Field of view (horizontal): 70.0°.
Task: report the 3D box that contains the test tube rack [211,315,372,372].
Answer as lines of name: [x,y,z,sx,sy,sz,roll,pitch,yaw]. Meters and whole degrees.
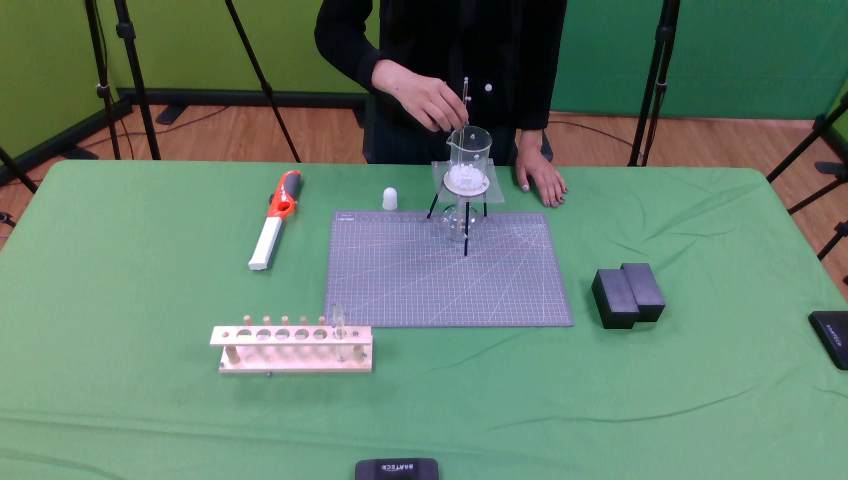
test tube rack: [-0.208,0.163,0.982,0.242,0.085,0.066,1,46,-4]

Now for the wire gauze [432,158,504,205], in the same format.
wire gauze: [0.081,-0.111,1.138,0.125,0.011,0.120,0,48,-7]

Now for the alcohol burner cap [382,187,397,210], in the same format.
alcohol burner cap: [-0.072,-0.090,1.266,0.034,0.048,0.033,3,47,-2]

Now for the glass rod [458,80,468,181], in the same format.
glass rod: [0.068,-0.187,1.060,0.008,0.201,0.008,1,41,-1]

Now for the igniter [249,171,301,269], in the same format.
igniter: [-0.297,-0.049,1.220,0.057,0.025,0.275,-2,45,9]

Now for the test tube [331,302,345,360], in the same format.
test tube: [-0.132,0.144,0.938,0.017,0.151,0.017,2,49,-3]

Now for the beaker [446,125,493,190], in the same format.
beaker: [0.079,-0.148,1.106,0.084,0.101,0.073,-3,47,-7]

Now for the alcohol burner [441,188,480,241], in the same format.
alcohol burner: [0.073,-0.055,1.189,0.078,0.120,0.077,1,48,-1]

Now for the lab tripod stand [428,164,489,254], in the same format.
lab tripod stand: [0.078,-0.068,1.188,0.148,0.132,0.147,3,47,-3]
